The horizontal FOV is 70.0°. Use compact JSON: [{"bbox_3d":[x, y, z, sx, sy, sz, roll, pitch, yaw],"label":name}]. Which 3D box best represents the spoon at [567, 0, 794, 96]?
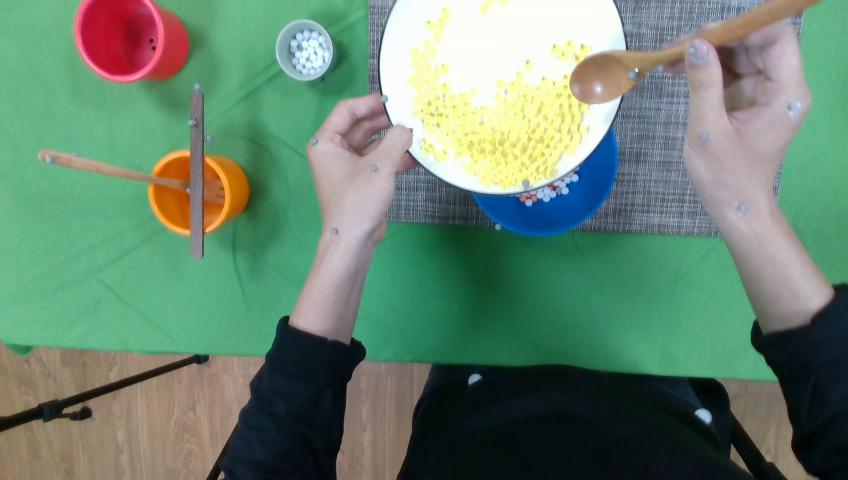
[{"bbox_3d":[0.166,-0.132,0.399,0.042,0.193,0.021,47,70,-18],"label":"spoon"}]

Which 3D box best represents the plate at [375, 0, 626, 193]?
[{"bbox_3d":[0.064,-0.144,0.514,0.209,0.038,0.210,-1,106,-3],"label":"plate"}]

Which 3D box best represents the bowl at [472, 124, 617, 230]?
[{"bbox_3d":[0.116,-0.091,0.631,0.151,0.076,0.152,1,103,5],"label":"bowl"}]

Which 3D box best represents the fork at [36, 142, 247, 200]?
[{"bbox_3d":[-0.289,-0.073,0.642,0.209,0.018,0.028,11,109,-41],"label":"fork"}]

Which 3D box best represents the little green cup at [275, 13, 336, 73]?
[{"bbox_3d":[-0.125,-0.210,0.654,0.061,0.038,0.062,1,102,6],"label":"little green cup"}]

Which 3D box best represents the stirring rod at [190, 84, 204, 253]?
[{"bbox_3d":[-0.238,-0.073,0.634,0.014,0.006,0.176,5,102,3],"label":"stirring rod"}]
